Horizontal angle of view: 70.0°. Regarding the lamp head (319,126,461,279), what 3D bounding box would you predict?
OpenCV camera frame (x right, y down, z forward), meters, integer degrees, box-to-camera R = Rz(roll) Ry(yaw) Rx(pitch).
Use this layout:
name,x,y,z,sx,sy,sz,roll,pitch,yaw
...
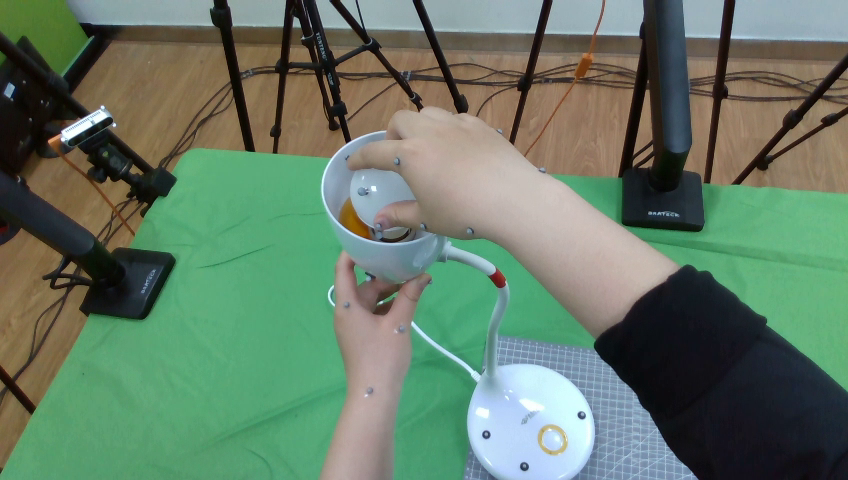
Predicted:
name,x,y,z,sx,sy,sz,roll,pitch,yaw
lamp head,-0.022,-0.018,0.517,0.112,0.124,0.111,-2,58,4

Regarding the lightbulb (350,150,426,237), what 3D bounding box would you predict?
name,x,y,z,sx,sy,sz,roll,pitch,yaw
lightbulb,-0.027,-0.027,0.491,0.059,0.108,0.059,-1,57,2

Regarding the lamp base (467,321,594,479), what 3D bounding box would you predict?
name,x,y,z,sx,sy,sz,roll,pitch,yaw
lamp base,0.116,0.175,0.717,0.177,0.182,0.160,29,63,28
